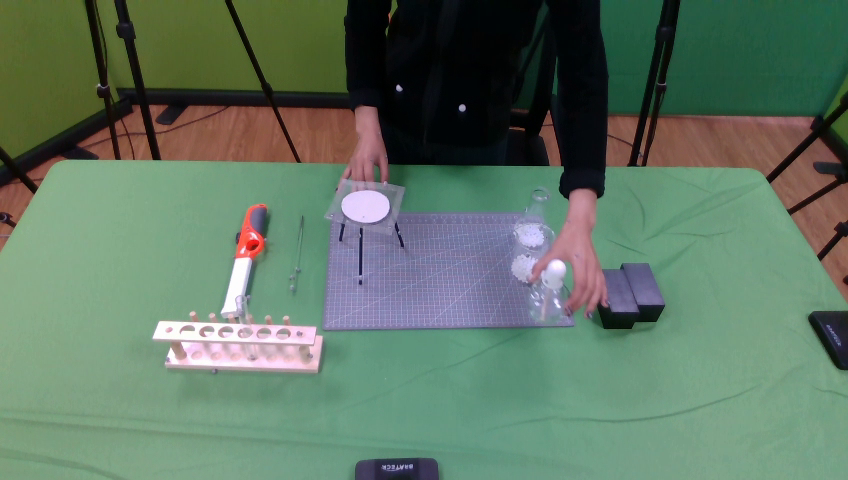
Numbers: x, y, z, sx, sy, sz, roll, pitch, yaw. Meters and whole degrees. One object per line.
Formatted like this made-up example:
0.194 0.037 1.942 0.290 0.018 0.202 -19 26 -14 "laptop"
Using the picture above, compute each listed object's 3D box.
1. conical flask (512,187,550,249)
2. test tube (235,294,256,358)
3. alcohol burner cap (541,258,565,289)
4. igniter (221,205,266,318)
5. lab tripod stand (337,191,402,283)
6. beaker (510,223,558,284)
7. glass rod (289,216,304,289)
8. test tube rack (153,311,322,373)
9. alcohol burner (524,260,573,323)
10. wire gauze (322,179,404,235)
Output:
0.217 -0.048 1.190 0.075 0.122 0.075 2 46 -2 "conical flask"
-0.274 0.136 0.933 0.017 0.151 0.017 4 45 -4 "test tube"
0.201 0.049 0.936 0.034 0.048 0.033 2 47 -2 "alcohol burner cap"
-0.338 0.030 1.140 0.057 0.025 0.274 -5 46 3 "igniter"
-0.106 -0.016 1.125 0.148 0.132 0.147 3 44 -2 "lab tripod stand"
0.199 0.027 1.132 0.083 0.101 0.074 27 50 21 "beaker"
-0.246 0.020 1.171 0.008 0.008 0.198 1 43 -3 "glass rod"
-0.293 0.160 0.977 0.242 0.085 0.066 3 46 -2 "test tube rack"
0.200 0.075 0.960 0.078 0.119 0.077 4 40 -3 "alcohol burner"
-0.106 -0.064 1.078 0.125 0.011 0.121 11 45 5 "wire gauze"
